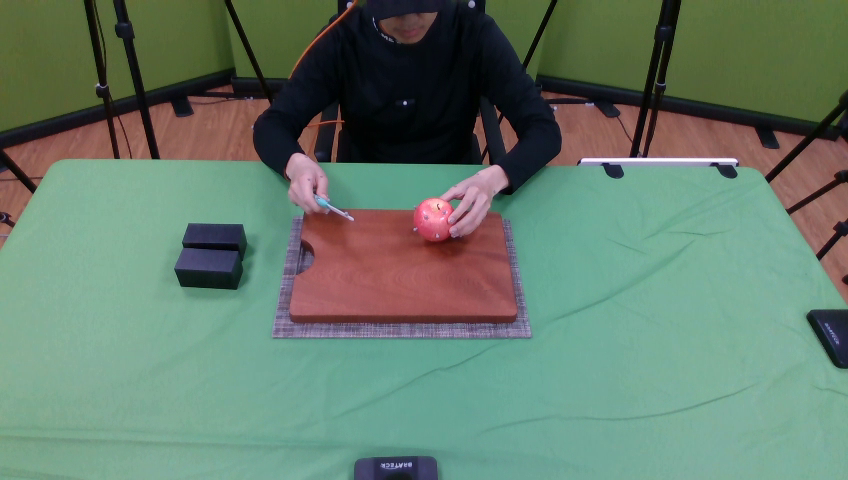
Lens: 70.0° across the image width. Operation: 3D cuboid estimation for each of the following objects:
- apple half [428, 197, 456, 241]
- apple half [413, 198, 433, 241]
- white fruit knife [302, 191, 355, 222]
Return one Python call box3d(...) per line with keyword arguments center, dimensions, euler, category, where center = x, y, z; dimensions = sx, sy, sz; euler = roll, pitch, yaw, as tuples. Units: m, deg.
box3d(center=(0.034, -0.038, 1.142), dimensions=(0.053, 0.075, 0.080), euler=(-4, 43, -11), category="apple half")
box3d(center=(-0.004, -0.035, 1.135), dimensions=(0.033, 0.081, 0.080), euler=(-5, 46, -12), category="apple half")
box3d(center=(-0.176, -0.062, 1.108), dimensions=(0.016, 0.027, 0.206), euler=(-52, 37, -10), category="white fruit knife")
